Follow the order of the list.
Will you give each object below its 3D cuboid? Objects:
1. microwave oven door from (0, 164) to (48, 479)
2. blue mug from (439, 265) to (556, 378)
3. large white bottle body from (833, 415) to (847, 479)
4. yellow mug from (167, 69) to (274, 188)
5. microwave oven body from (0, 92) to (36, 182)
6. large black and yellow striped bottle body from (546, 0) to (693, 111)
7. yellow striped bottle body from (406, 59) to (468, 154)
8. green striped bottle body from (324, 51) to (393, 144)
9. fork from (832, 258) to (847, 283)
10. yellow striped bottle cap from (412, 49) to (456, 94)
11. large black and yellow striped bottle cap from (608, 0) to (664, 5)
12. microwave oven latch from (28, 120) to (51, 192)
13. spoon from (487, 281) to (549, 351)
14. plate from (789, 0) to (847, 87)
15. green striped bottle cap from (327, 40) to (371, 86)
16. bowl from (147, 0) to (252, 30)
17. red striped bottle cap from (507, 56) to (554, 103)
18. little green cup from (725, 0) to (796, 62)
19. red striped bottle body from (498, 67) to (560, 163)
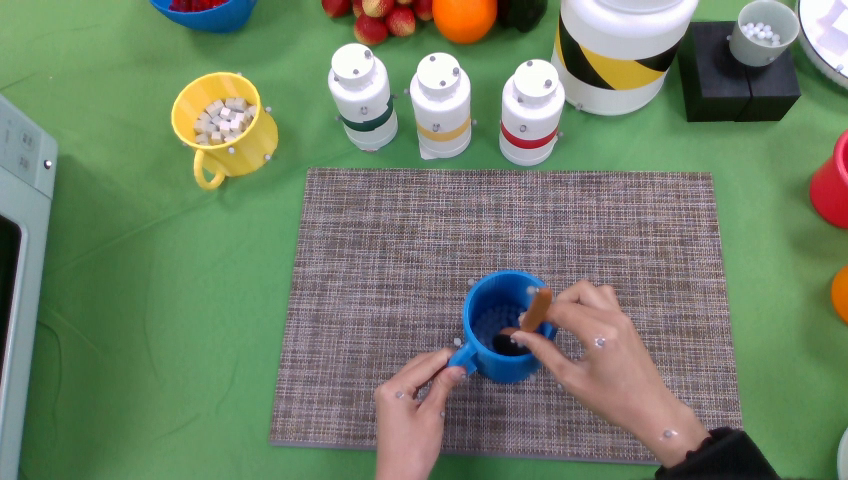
[{"bbox_3d":[-0.431,0.072,0.515,0.039,0.245,0.353,-8,69,2],"label":"microwave oven door"},{"bbox_3d":[0.062,0.088,0.560,0.116,0.106,0.082,-36,70,-9],"label":"blue mug"},{"bbox_3d":[0.426,0.175,0.461,0.130,0.186,0.129,-1,68,4],"label":"large white bottle body"},{"bbox_3d":[-0.233,-0.120,0.686,0.100,0.064,0.130,10,71,8],"label":"yellow mug"},{"bbox_3d":[-0.580,0.054,0.538,0.326,0.262,0.438,-8,69,1],"label":"microwave oven body"},{"bbox_3d":[0.202,-0.237,0.635,0.131,0.185,0.130,-1,69,4],"label":"large black and yellow striped bottle body"},{"bbox_3d":[0.015,-0.149,0.649,0.063,0.121,0.062,-2,68,5],"label":"yellow striped bottle body"},{"bbox_3d":[-0.071,-0.160,0.660,0.063,0.120,0.062,-1,69,4],"label":"green striped bottle body"},{"bbox_3d":[0.457,0.059,0.522,0.028,0.019,0.205,-36,27,-8],"label":"fork"},{"bbox_3d":[0.010,-0.167,0.601,0.044,0.019,0.044,0,66,0],"label":"yellow striped bottle cap"},{"bbox_3d":[0.195,-0.266,0.556,0.115,0.019,0.114,-2,68,4],"label":"large black and yellow striped bottle cap"},{"bbox_3d":[-0.445,-0.094,0.687,0.030,0.030,0.078,-6,70,2],"label":"microwave oven latch"},{"bbox_3d":[0.080,0.067,0.497,0.041,0.195,0.021,17,73,5],"label":"spoon"},{"bbox_3d":[0.523,-0.248,0.693,0.209,0.038,0.207,-1,70,4],"label":"plate"},{"bbox_3d":[-0.076,-0.180,0.612,0.044,0.020,0.044,-1,70,3],"label":"green striped bottle cap"},{"bbox_3d":[-0.269,-0.319,0.758,0.151,0.077,0.150,-1,69,4],"label":"bowl"},{"bbox_3d":[0.104,-0.157,0.590,0.044,0.018,0.044,0,68,0],"label":"red striped bottle cap"},{"bbox_3d":[0.353,-0.221,0.641,0.061,0.039,0.061,0,67,1],"label":"little green cup"},{"bbox_3d":[0.109,-0.137,0.638,0.063,0.120,0.062,-3,67,7],"label":"red striped bottle body"}]
